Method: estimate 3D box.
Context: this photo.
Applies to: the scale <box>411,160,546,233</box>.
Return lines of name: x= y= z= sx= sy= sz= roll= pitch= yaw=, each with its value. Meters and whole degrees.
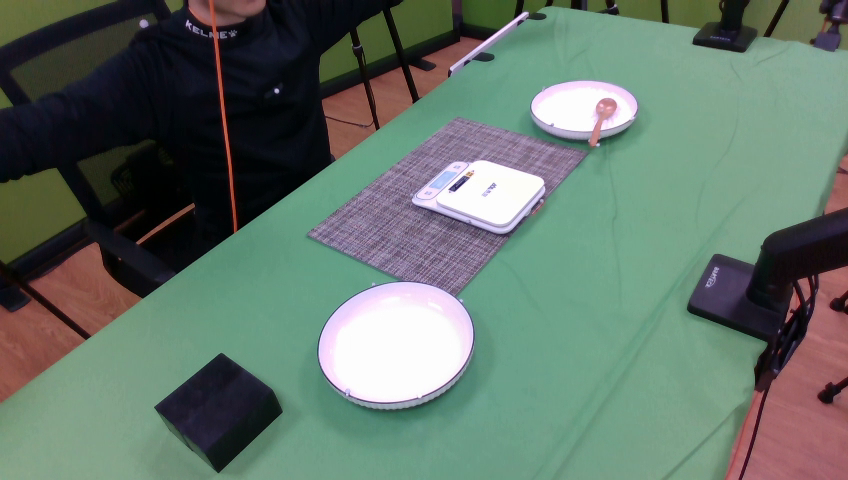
scale: x=0.092 y=-0.083 z=1.039 sx=0.199 sy=0.032 sz=0.149 roll=22 pitch=48 yaw=30

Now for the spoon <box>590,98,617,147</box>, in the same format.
spoon: x=0.334 y=-0.225 z=1.145 sx=0.041 sy=0.022 sz=0.194 roll=11 pitch=37 yaw=20

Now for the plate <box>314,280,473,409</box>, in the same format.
plate: x=-0.039 y=0.139 z=0.801 sx=0.207 sy=0.039 sz=0.206 roll=-4 pitch=41 yaw=4

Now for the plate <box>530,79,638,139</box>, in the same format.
plate: x=0.317 y=-0.257 z=1.210 sx=0.209 sy=0.038 sz=0.208 roll=-4 pitch=41 yaw=4
